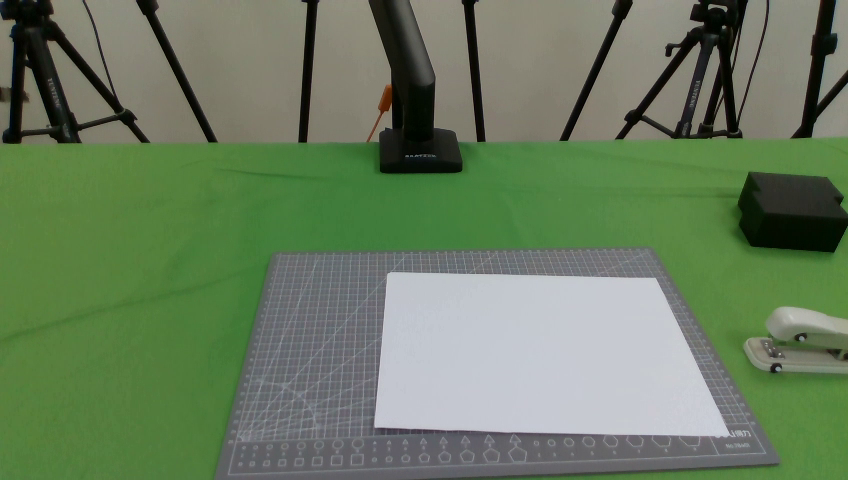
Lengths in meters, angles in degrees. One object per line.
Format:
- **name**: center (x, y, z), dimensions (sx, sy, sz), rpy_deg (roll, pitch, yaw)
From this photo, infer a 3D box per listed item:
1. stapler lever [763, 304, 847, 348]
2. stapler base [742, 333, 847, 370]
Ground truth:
- **stapler lever**: center (0.380, 0.082, 0.569), dimensions (0.118, 0.040, 0.026), rpy_deg (2, 39, -1)
- **stapler base**: center (0.378, 0.102, 0.583), dimensions (0.130, 0.024, 0.041), rpy_deg (3, 39, -1)
